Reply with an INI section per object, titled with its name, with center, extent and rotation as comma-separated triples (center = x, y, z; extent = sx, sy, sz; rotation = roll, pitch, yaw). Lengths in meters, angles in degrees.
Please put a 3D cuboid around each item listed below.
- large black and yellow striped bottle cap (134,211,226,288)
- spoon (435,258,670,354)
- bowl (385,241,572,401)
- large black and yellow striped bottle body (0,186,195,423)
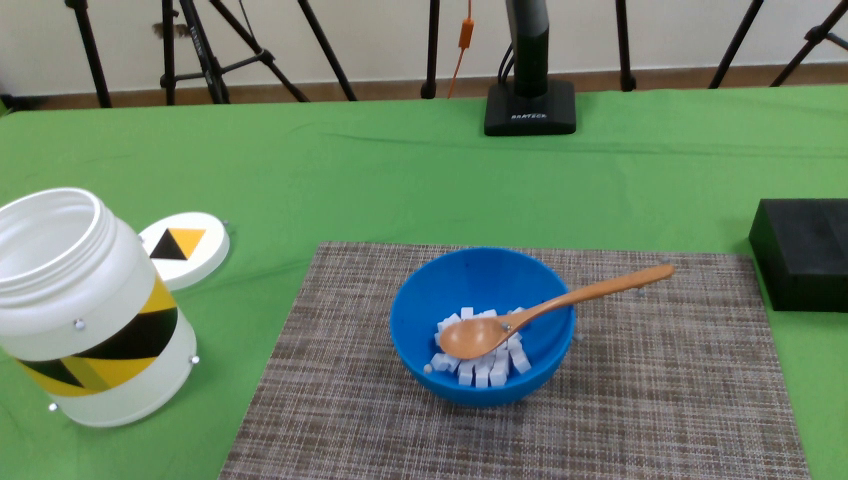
[large black and yellow striped bottle cap]
center = -0.288, 0.009, 0.696
extent = 0.115, 0.019, 0.114
rotation = -4, 44, 4
[spoon]
center = 0.101, 0.051, 0.486
extent = 0.193, 0.022, 0.041
rotation = -22, 39, 13
[bowl]
center = 0.047, 0.080, 0.514
extent = 0.151, 0.077, 0.150
rotation = -4, 44, 5
[large black and yellow striped bottle body]
center = -0.293, 0.057, 0.523
extent = 0.131, 0.186, 0.129
rotation = -5, 44, 5
